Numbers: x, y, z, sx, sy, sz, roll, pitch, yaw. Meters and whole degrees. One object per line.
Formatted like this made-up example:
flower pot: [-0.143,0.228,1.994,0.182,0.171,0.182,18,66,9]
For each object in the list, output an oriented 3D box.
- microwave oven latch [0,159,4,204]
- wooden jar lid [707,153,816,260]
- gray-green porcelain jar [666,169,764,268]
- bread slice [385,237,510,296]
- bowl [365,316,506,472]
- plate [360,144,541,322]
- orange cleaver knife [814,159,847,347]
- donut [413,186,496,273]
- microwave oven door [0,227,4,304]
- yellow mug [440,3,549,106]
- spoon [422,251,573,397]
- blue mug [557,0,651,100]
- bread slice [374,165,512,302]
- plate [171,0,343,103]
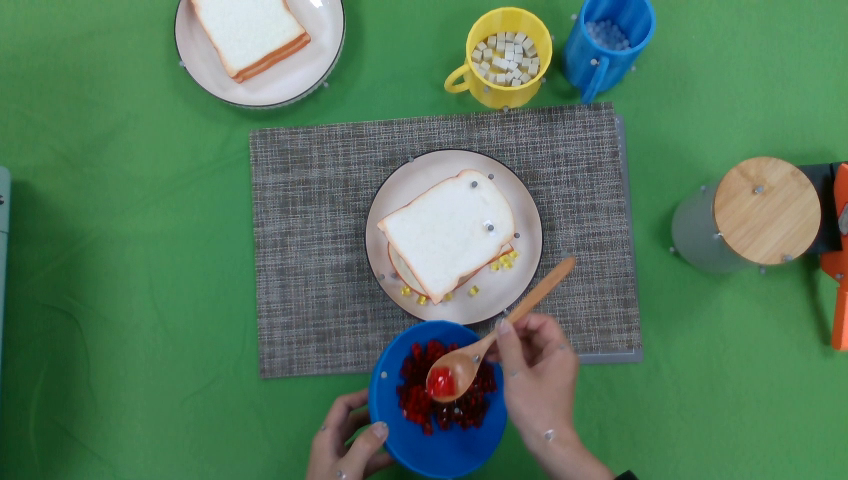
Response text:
microwave oven latch: [-0.511,-0.059,0.703,0.030,0.029,0.079,2,84,0]
wooden jar lid: [0.334,-0.033,0.606,0.108,0.021,0.108,0,86,-2]
gray-green porcelain jar: [0.336,-0.024,0.668,0.106,0.127,0.105,0,83,0]
bread slice: [0.022,0.003,0.712,0.131,0.019,0.104,-35,82,-7]
bowl: [0.000,0.158,0.620,0.152,0.077,0.150,10,69,-26]
plate: [0.031,-0.008,0.709,0.209,0.038,0.208,0,83,1]
orange cleaver knife: [0.467,0.017,0.684,0.012,0.076,0.212,-5,109,1]
donut: [0.036,-0.011,0.682,0.099,0.048,0.098,3,81,-17]
microwave oven door: [-0.508,0.146,0.578,0.039,0.244,0.354,-2,83,1]
yellow mug: [0.080,-0.213,0.722,0.131,0.064,0.099,-24,83,-1]
spoon: [0.073,0.081,0.586,0.194,0.022,0.041,-44,79,9]
blue mug: [0.201,-0.220,0.703,0.082,0.106,0.116,17,84,3]
bread slice: [0.027,-0.017,0.650,0.134,0.018,0.107,-39,91,-12]
plate: [-0.201,-0.265,0.744,0.208,0.039,0.207,0,83,0]
